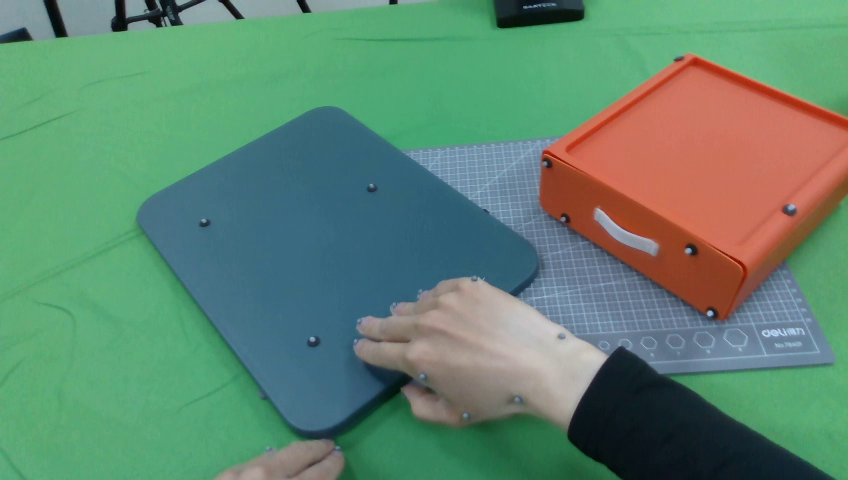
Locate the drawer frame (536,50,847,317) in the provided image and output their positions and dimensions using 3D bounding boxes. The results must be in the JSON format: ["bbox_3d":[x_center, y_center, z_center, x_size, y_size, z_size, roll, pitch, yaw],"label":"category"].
[{"bbox_3d":[0.247,-0.065,0.550,0.213,0.083,0.199,-35,53,-23],"label":"drawer frame"}]

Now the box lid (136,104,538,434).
[{"bbox_3d":[-0.100,-0.007,0.594,0.263,0.015,0.367,-35,52,-22],"label":"box lid"}]

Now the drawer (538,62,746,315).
[{"bbox_3d":[0.245,-0.062,0.550,0.212,0.074,0.192,-35,52,-23],"label":"drawer"}]

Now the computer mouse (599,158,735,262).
[{"bbox_3d":[0.219,-0.032,0.545,0.063,0.041,0.116,-33,59,-25],"label":"computer mouse"}]
